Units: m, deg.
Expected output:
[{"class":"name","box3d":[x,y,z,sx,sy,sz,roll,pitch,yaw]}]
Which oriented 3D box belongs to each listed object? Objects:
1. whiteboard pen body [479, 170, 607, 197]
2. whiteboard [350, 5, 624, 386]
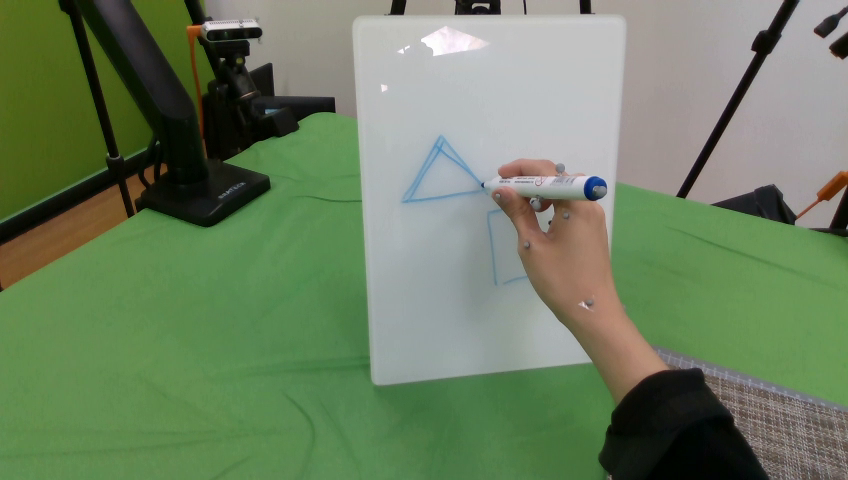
[{"class":"whiteboard pen body","box3d":[0.076,-0.041,0.429,0.017,0.017,0.140,-16,12,-24]},{"class":"whiteboard","box3d":[0.046,-0.047,0.562,0.218,0.307,0.143,-4,16,-9]}]
